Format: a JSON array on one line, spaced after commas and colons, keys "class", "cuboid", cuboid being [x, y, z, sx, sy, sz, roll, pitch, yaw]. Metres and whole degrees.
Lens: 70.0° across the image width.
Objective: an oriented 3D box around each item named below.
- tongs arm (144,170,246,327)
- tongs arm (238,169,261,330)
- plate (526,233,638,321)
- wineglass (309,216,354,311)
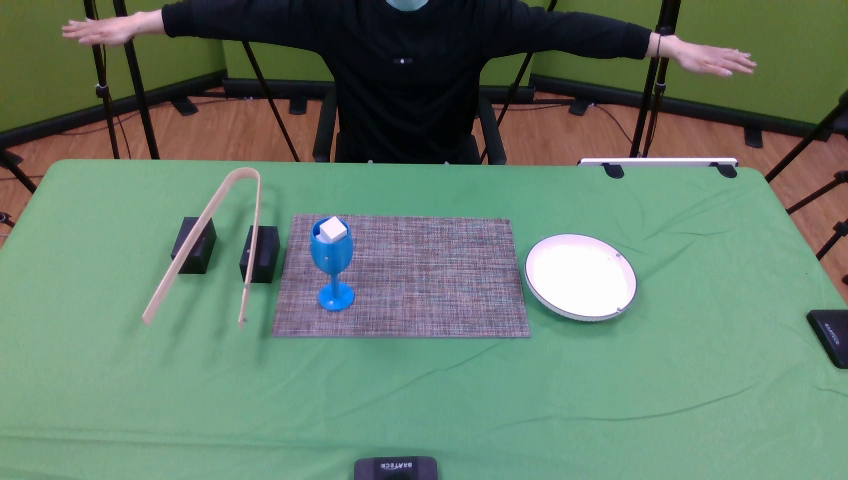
[{"class": "tongs arm", "cuboid": [-0.409, -0.002, 1.101, 0.028, 0.028, 0.385, 5, 45, 9]}, {"class": "tongs arm", "cuboid": [-0.329, 0.001, 1.102, 0.051, 0.026, 0.382, -2, 46, -3]}, {"class": "plate", "cuboid": [0.292, 0.071, 1.135, 0.209, 0.038, 0.208, 2, 46, -2]}, {"class": "wineglass", "cuboid": [-0.155, 0.043, 1.032, 0.074, 0.173, 0.073, 2, 46, -2]}]
